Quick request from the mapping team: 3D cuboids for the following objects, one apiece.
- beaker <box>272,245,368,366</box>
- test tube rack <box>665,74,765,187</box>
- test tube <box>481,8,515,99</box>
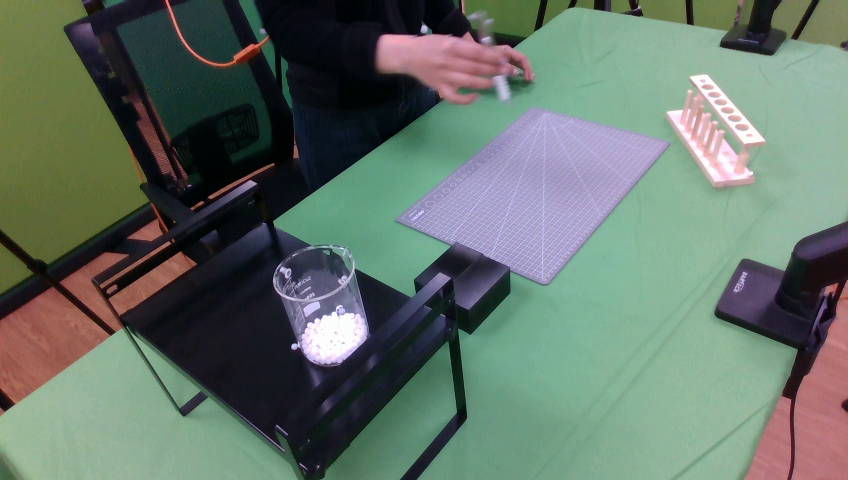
[{"bbox_3d":[-0.093,0.064,0.578,0.073,0.101,0.084,21,48,29],"label":"beaker"},{"bbox_3d":[0.512,-0.202,1.082,0.067,0.085,0.241,-6,41,2],"label":"test tube rack"},{"bbox_3d":[0.111,-0.270,0.890,0.017,0.151,0.017,-13,45,14],"label":"test tube"}]
